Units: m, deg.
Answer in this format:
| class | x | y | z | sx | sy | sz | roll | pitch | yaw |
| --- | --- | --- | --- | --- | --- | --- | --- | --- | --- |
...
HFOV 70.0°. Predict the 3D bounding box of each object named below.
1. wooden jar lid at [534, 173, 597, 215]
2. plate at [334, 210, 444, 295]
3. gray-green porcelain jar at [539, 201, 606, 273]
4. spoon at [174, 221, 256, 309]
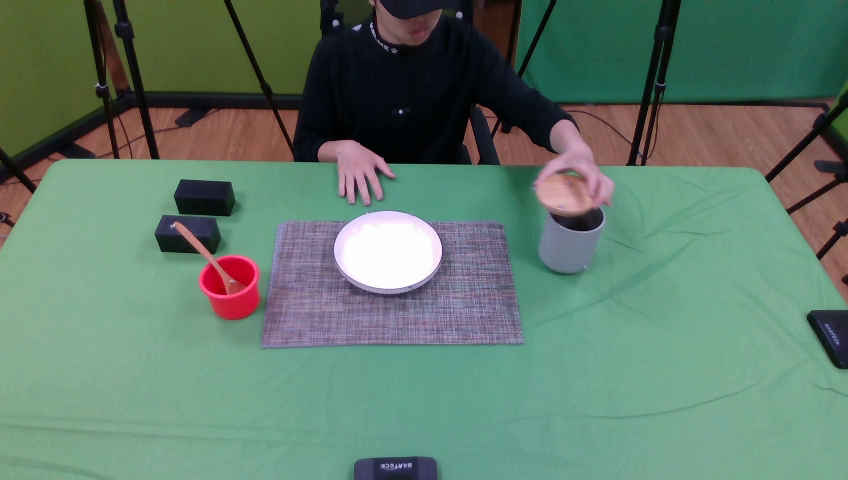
| class | x | y | z | sx | sy | sz | roll | pitch | yaw |
| --- | --- | --- | --- | --- | --- | --- | --- | --- | --- |
| wooden jar lid | 0.250 | -0.080 | 1.074 | 0.108 | 0.021 | 0.107 | -2 | 43 | 2 |
| plate | -0.066 | 0.026 | 1.150 | 0.208 | 0.039 | 0.206 | 2 | 46 | -2 |
| gray-green porcelain jar | 0.277 | -0.007 | 1.151 | 0.106 | 0.127 | 0.105 | 2 | 46 | -2 |
| spoon | -0.360 | 0.043 | 1.044 | 0.194 | 0.021 | 0.041 | 54 | 52 | -14 |
